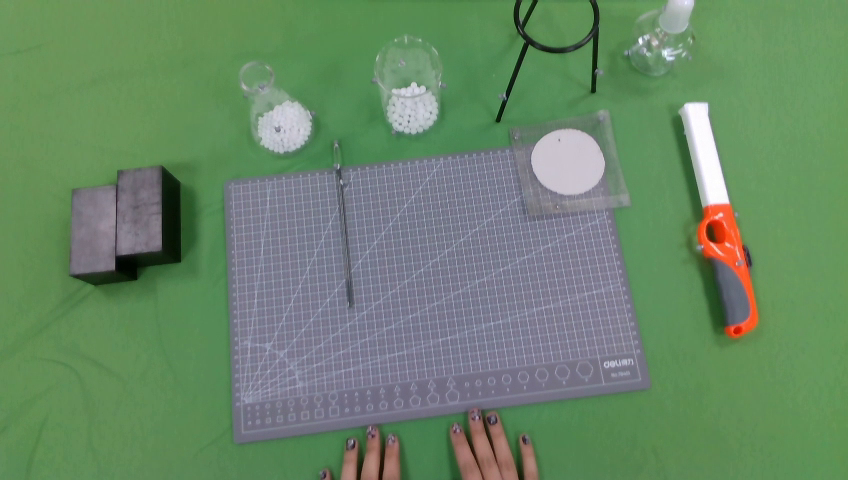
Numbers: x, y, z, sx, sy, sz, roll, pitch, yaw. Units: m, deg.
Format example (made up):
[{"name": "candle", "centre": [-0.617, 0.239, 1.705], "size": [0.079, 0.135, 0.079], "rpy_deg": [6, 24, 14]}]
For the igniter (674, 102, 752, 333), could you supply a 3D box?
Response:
[{"name": "igniter", "centre": [0.331, -0.031, 0.696], "size": [0.057, 0.025, 0.275], "rpy_deg": [-3, 75, -10]}]

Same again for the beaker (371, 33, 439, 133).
[{"name": "beaker", "centre": [-0.020, -0.177, 0.701], "size": [0.074, 0.101, 0.083], "rpy_deg": [-5, 74, -1]}]

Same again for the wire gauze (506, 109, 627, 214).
[{"name": "wire gauze", "centre": [0.169, -0.093, 0.722], "size": [0.125, 0.011, 0.121], "rpy_deg": [-8, 75, -2]}]

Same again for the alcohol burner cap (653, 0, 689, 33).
[{"name": "alcohol burner cap", "centre": [0.278, -0.259, 0.676], "size": [0.034, 0.048, 0.033], "rpy_deg": [-2, 72, 6]}]

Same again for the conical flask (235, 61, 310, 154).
[{"name": "conical flask", "centre": [-0.177, -0.153, 0.684], "size": [0.075, 0.122, 0.075], "rpy_deg": [0, 74, 1]}]

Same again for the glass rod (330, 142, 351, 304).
[{"name": "glass rod", "centre": [-0.098, -0.023, 0.703], "size": [0.008, 0.008, 0.198], "rpy_deg": [-7, 75, -2]}]

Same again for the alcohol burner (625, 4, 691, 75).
[{"name": "alcohol burner", "centre": [0.280, -0.247, 0.710], "size": [0.078, 0.119, 0.077], "rpy_deg": [0, 76, 2]}]

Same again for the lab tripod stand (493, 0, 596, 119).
[{"name": "lab tripod stand", "centre": [0.134, -0.217, 0.693], "size": [0.148, 0.132, 0.147], "rpy_deg": [0, 76, 0]}]
